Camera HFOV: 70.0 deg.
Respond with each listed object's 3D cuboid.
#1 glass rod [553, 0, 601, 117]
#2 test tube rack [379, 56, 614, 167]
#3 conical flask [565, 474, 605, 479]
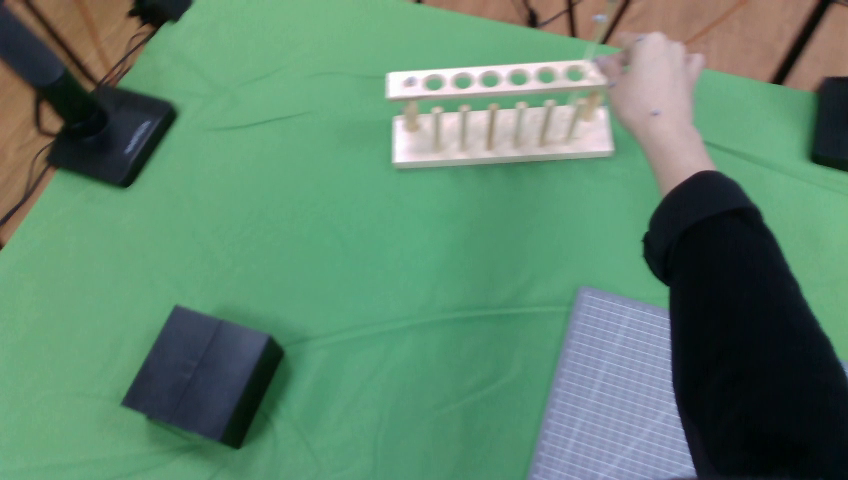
[{"bbox_3d":[0.153,-0.186,0.605,0.008,0.201,0.008,1,65,-1],"label":"glass rod"},{"bbox_3d":[0.077,-0.138,0.661,0.242,0.086,0.066,-3,64,2],"label":"test tube rack"},{"bbox_3d":[0.135,0.214,0.464,0.075,0.123,0.074,-1,64,3],"label":"conical flask"}]
